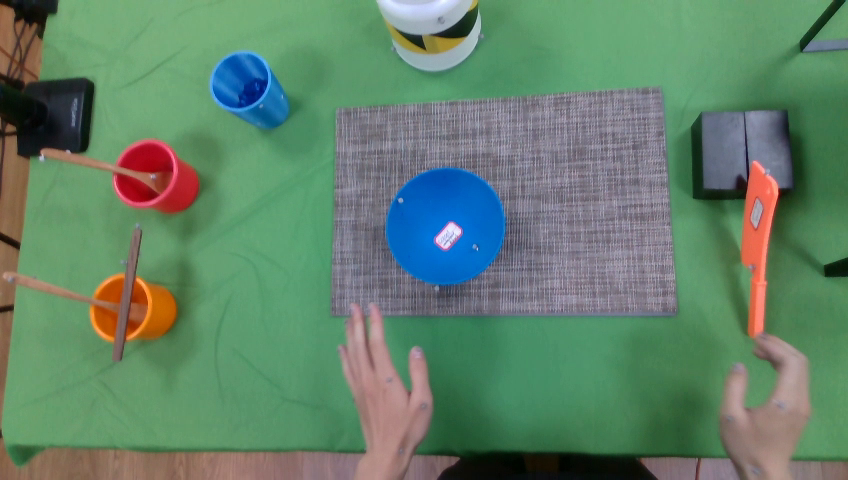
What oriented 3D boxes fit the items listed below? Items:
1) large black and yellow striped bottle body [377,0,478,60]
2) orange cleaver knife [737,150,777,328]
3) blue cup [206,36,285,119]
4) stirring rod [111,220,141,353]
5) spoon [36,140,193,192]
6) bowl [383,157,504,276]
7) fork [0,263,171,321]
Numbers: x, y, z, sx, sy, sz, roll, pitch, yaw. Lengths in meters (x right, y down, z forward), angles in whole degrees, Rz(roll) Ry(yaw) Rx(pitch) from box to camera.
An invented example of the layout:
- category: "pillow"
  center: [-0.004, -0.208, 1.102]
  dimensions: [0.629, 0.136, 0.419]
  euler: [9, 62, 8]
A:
- category: "large black and yellow striped bottle body"
  center: [0.000, -0.332, 0.783]
  dimensions: [0.130, 0.185, 0.130]
  euler: [-1, 80, 8]
- category: "orange cleaver knife"
  center: [0.392, 0.001, 0.722]
  dimensions: [0.012, 0.077, 0.212]
  euler: [-5, 110, 5]
- category: "blue cup"
  center: [-0.238, -0.214, 0.842]
  dimensions: [0.092, 0.100, 0.092]
  euler: [-1, 82, 7]
- category: "stirring rod"
  center: [-0.390, 0.059, 0.794]
  dimensions: [0.014, 0.006, 0.175]
  euler: [4, 82, 6]
- category: "spoon"
  center: [-0.419, -0.106, 0.831]
  dimensions: [0.195, 0.021, 0.041]
  euler: [16, 79, -33]
- category: "bowl"
  center: [0.028, -0.023, 0.779]
  dimensions: [0.151, 0.077, 0.151]
  euler: [-1, 81, 8]
- category: "fork"
  center: [-0.441, 0.069, 0.802]
  dimensions: [0.209, 0.018, 0.028]
  euler: [24, 93, -32]
